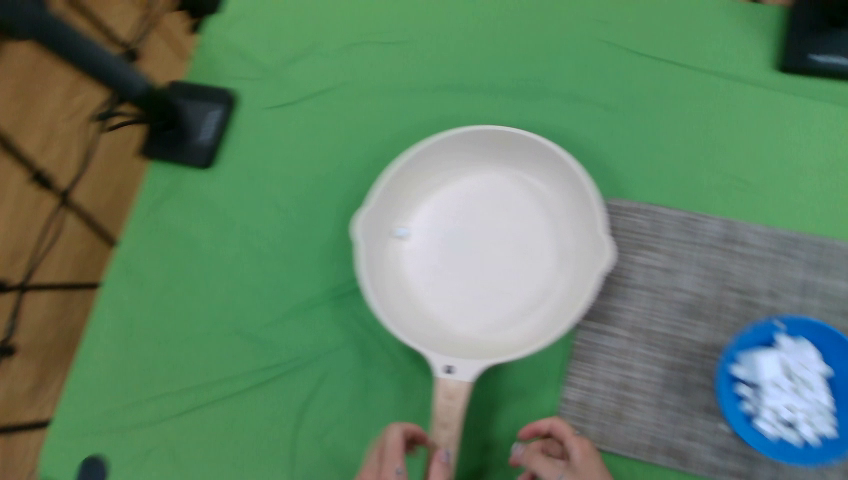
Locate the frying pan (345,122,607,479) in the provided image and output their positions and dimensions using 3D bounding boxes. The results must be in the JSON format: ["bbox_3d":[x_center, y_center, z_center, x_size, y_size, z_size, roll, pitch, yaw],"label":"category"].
[{"bbox_3d":[0.040,0.098,0.695,0.306,0.103,0.484,7,68,11],"label":"frying pan"}]

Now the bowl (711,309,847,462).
[{"bbox_3d":[0.374,0.153,0.640,0.151,0.077,0.150,-2,74,8],"label":"bowl"}]
